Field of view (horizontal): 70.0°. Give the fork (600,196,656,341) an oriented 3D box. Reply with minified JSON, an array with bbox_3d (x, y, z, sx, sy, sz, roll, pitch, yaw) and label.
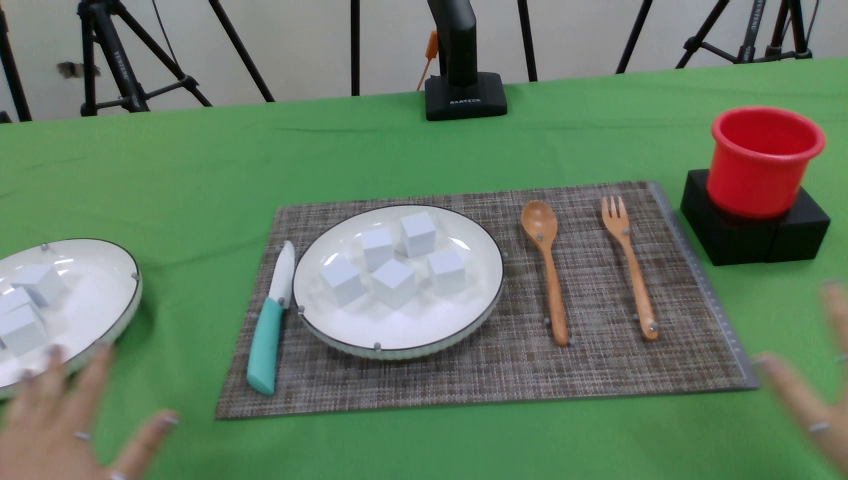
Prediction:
[{"bbox_3d":[0.206,0.020,0.612,0.028,0.019,0.205,4,39,1],"label":"fork"}]

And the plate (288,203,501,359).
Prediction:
[{"bbox_3d":[-0.028,0.040,0.603,0.207,0.039,0.205,-3,40,3],"label":"plate"}]

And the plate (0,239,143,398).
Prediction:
[{"bbox_3d":[-0.385,0.077,0.606,0.209,0.038,0.207,-3,40,3],"label":"plate"}]

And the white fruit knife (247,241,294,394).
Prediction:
[{"bbox_3d":[-0.149,0.066,0.605,0.027,0.016,0.205,17,35,-17],"label":"white fruit knife"}]

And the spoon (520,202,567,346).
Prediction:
[{"bbox_3d":[0.124,0.027,0.611,0.042,0.022,0.192,11,39,-8],"label":"spoon"}]
